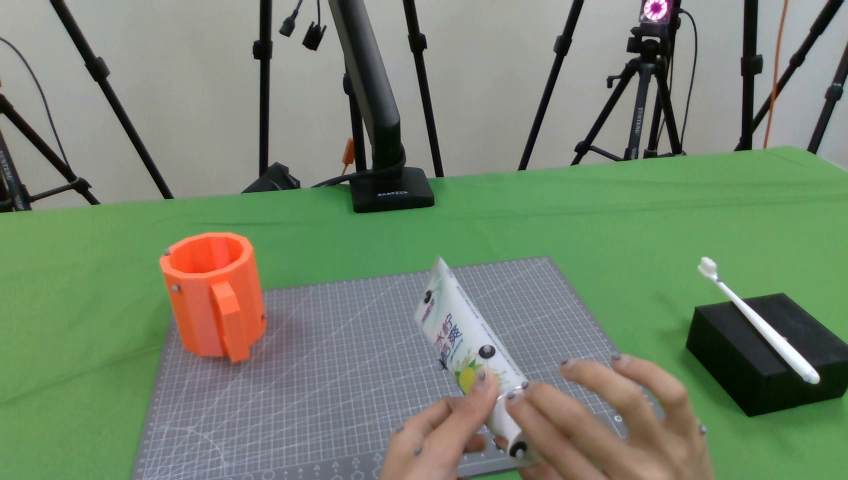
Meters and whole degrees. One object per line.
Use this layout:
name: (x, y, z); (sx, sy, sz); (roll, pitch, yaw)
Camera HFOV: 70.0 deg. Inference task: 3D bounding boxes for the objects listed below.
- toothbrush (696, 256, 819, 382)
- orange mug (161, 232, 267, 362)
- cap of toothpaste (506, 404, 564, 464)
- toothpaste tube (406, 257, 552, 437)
toothbrush: (0.310, 0.068, 0.574); (0.014, 0.017, 0.180); (0, 31, -9)
orange mug: (-0.202, 0.060, 0.604); (0.084, 0.101, 0.125); (-17, 31, -25)
cap of toothpaste: (0.059, 0.105, 0.329); (0.037, 0.037, 0.011); (-15, 30, -21)
toothpaste tube: (0.029, 0.069, 0.392); (0.035, 0.055, 0.163); (19, 16, -33)
